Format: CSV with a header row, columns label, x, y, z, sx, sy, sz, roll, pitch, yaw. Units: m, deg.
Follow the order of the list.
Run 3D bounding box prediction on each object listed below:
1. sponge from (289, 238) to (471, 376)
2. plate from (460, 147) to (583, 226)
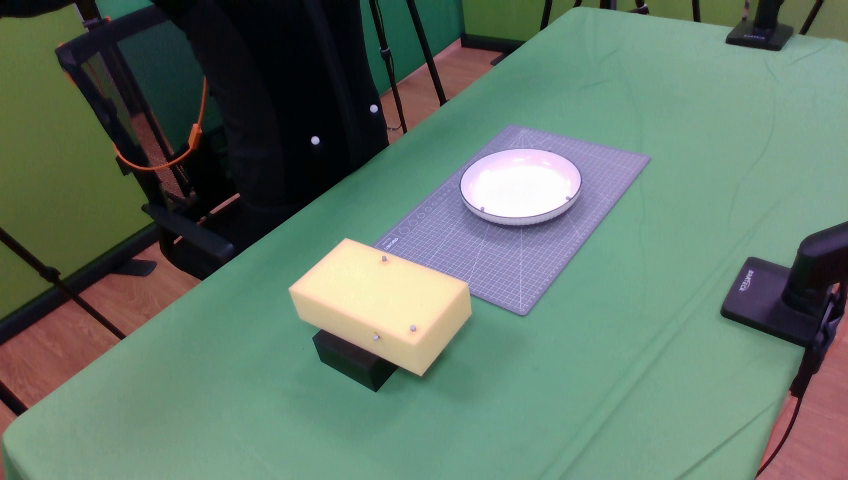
label,x,y,z,sx,sy,sz,roll,pitch,yaw
sponge,-0.058,0.081,0.794,0.205,0.061,0.118,19,48,29
plate,0.166,-0.089,1.043,0.209,0.038,0.208,-5,40,5
